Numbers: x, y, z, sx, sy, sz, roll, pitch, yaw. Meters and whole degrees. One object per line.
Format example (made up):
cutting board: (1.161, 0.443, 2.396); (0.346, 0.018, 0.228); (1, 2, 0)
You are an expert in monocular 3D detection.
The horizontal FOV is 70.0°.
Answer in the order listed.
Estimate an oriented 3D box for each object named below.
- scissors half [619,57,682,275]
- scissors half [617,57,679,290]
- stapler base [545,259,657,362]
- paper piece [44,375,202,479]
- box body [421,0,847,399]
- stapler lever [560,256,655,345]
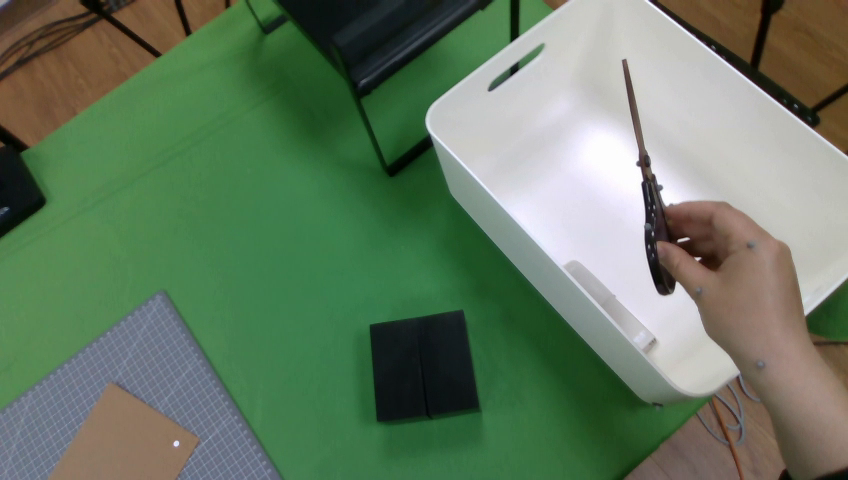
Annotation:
scissors half: (0.171, -0.052, 0.458); (0.013, 0.176, 0.040); (-12, 22, 29)
scissors half: (0.161, -0.046, 0.442); (0.012, 0.040, 0.175); (-11, 97, 35)
stapler base: (0.186, 0.070, 0.642); (0.041, 0.024, 0.129); (-44, 72, -5)
paper piece: (-0.333, 0.241, 0.664); (0.137, 0.009, 0.135); (26, 80, 14)
box body: (0.207, -0.049, 0.614); (0.254, 0.161, 0.361); (-39, 70, -7)
stapler lever: (0.183, 0.063, 0.618); (0.027, 0.040, 0.117); (-44, 72, -5)
